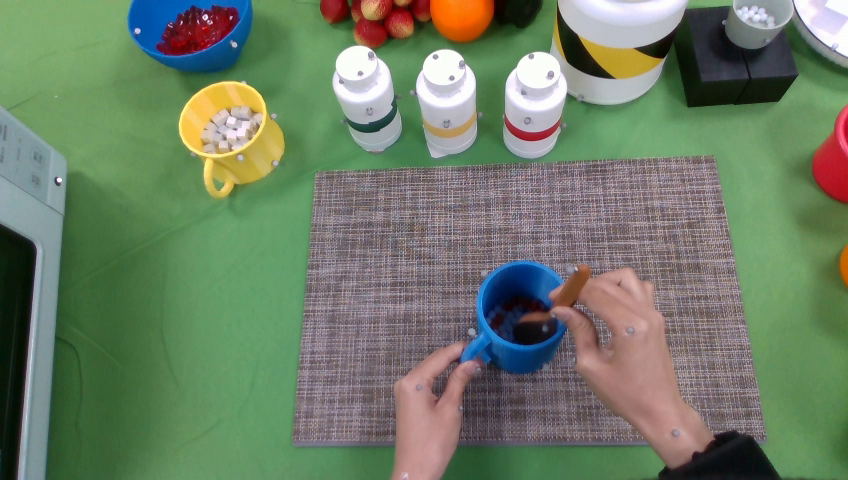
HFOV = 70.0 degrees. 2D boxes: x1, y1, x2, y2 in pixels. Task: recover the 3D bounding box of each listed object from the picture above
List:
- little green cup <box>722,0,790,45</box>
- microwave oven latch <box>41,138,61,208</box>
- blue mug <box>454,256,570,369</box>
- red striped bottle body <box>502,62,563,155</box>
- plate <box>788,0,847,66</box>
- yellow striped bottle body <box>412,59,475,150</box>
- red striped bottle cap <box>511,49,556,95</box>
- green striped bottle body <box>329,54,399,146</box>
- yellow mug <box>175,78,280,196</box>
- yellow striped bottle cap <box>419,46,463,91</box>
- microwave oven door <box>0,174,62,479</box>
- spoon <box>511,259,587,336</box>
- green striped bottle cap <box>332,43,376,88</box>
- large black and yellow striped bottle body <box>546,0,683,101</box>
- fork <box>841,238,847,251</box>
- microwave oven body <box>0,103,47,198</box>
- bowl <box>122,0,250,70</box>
[{"bbox_3d":[0.353,-0.243,0.651,0.061,0.039,0.061,-1,67,3],"label":"little green cup"},{"bbox_3d":[-0.437,-0.075,0.695,0.030,0.030,0.078,-10,69,1],"label":"microwave oven latch"},{"bbox_3d":[0.076,0.081,0.566,0.116,0.106,0.081,-36,69,-9],"label":"blue mug"},{"bbox_3d":[0.115,-0.147,0.647,0.063,0.120,0.062,-3,67,7],"label":"red striped bottle body"},{"bbox_3d":[0.522,-0.277,0.704,0.209,0.038,0.207,-2,69,5],"label":"plate"},{"bbox_3d":[0.022,-0.154,0.658,0.063,0.121,0.062,-2,68,6],"label":"yellow striped bottle body"},{"bbox_3d":[0.109,-0.167,0.599,0.044,0.018,0.044,0,67,1],"label":"red striped bottle cap"},{"bbox_3d":[-0.066,-0.160,0.670,0.063,0.120,0.062,-2,68,5],"label":"green striped bottle body"},{"bbox_3d":[-0.227,-0.112,0.694,0.100,0.064,0.130,8,70,7],"label":"yellow mug"},{"bbox_3d":[0.017,-0.173,0.611,0.044,0.019,0.044,-2,70,5],"label":"yellow striped bottle cap"},{"bbox_3d":[-0.414,0.088,0.521,0.039,0.245,0.353,-11,68,2],"label":"microwave oven door"},{"bbox_3d":[0.106,0.053,0.505,0.041,0.194,0.021,7,71,0],"label":"spoon"},{"bbox_3d":[-0.072,-0.179,0.621,0.044,0.020,0.044,-2,67,5],"label":"green striped bottle cap"},{"bbox_3d":[0.202,-0.251,0.645,0.130,0.185,0.130,-2,68,5],"label":"large black and yellow striped bottle body"},{"bbox_3d":[0.472,0.030,0.529,0.028,0.019,0.205,-39,26,-9],"label":"fork"},{"bbox_3d":[-0.564,0.078,0.544,0.326,0.262,0.438,-10,69,1],"label":"microwave oven body"},{"bbox_3d":[-0.281,-0.266,0.753,0.151,0.077,0.150,-1,69,4],"label":"bowl"}]
